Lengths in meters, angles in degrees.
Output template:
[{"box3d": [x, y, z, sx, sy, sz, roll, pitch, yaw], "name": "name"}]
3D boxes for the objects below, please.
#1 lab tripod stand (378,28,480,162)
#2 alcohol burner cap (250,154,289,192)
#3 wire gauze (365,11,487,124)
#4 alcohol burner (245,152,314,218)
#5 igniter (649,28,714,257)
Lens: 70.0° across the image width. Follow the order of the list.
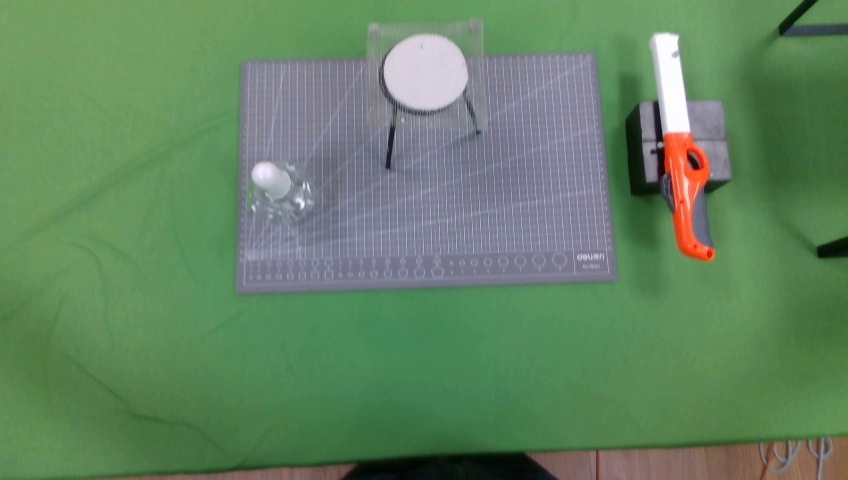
[{"box3d": [-0.006, -0.168, 0.686, 0.148, 0.132, 0.147, 0, 78, 1], "name": "lab tripod stand"}, {"box3d": [-0.165, -0.072, 0.637, 0.034, 0.048, 0.033, -1, 78, 7], "name": "alcohol burner cap"}, {"box3d": [0.002, -0.177, 0.619, 0.125, 0.011, 0.121, 1, 79, -1], "name": "wire gauze"}, {"box3d": [-0.164, -0.066, 0.672, 0.078, 0.119, 0.077, 0, 80, 0], "name": "alcohol burner"}, {"box3d": [0.291, -0.115, 0.692, 0.057, 0.025, 0.275, -1, 76, -4], "name": "igniter"}]
